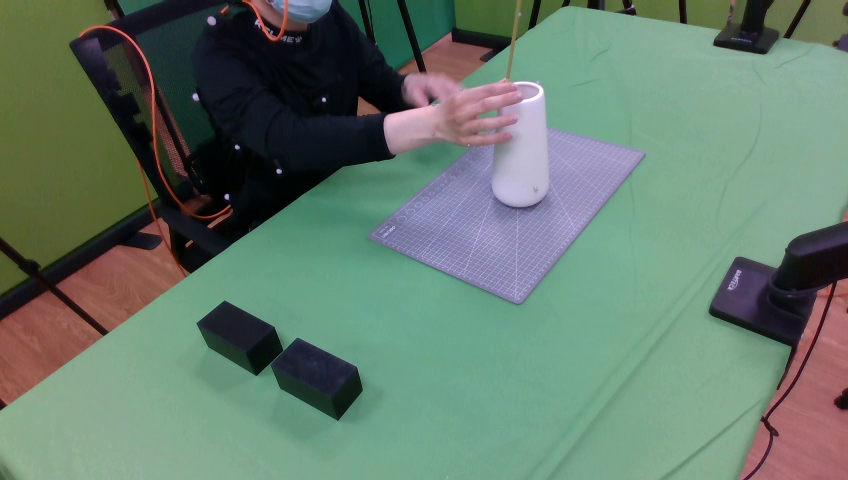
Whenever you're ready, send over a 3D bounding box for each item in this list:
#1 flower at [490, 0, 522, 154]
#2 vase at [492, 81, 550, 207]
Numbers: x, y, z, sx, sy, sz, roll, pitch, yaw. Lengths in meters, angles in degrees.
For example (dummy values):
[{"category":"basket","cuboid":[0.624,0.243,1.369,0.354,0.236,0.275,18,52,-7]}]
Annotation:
[{"category":"flower","cuboid":[0.125,-0.268,0.876,0.044,0.362,0.038,23,50,15]},{"category":"vase","cuboid":[0.159,-0.151,0.982,0.098,0.201,0.097,-3,41,3]}]
